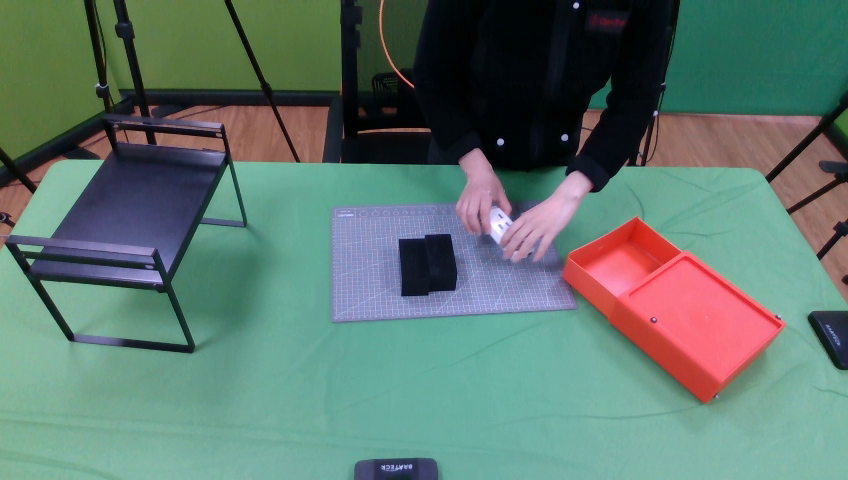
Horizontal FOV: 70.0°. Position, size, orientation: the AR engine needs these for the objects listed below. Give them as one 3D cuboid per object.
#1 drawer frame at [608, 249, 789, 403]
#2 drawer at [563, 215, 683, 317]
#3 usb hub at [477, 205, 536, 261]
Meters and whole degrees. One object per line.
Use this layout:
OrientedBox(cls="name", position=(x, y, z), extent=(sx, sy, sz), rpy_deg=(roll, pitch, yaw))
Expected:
OrientedBox(cls="drawer frame", position=(0.470, 0.139, 1.052), extent=(0.202, 0.083, 0.212), rpy_deg=(-28, 55, -28))
OrientedBox(cls="drawer", position=(0.400, 0.071, 1.117), extent=(0.194, 0.073, 0.210), rpy_deg=(-25, 53, -26))
OrientedBox(cls="usb hub", position=(0.154, -0.015, 1.154), extent=(0.049, 0.025, 0.124), rpy_deg=(-15, 52, -32))
